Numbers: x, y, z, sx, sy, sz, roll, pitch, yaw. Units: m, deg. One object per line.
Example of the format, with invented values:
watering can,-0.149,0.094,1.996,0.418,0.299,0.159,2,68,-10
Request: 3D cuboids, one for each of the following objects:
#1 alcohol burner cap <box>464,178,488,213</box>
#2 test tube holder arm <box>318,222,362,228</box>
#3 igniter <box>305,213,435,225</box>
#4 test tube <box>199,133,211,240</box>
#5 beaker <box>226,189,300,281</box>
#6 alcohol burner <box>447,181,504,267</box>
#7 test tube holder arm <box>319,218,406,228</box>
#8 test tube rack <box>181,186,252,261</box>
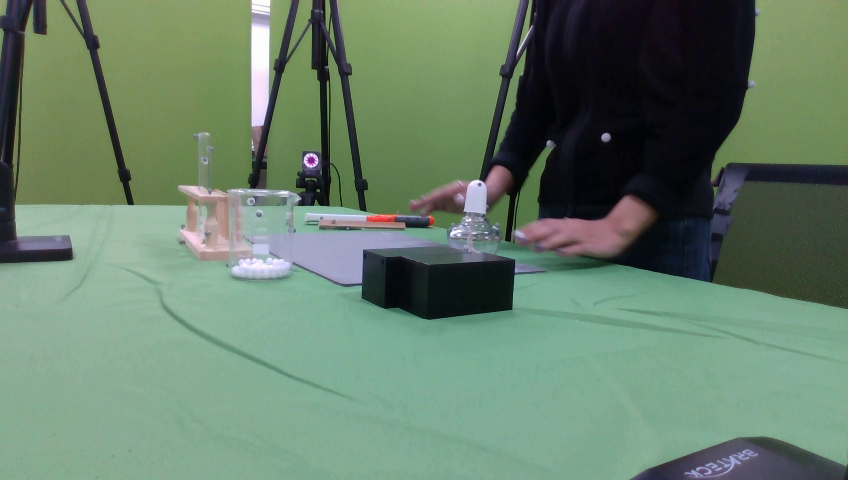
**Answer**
alcohol burner cap,0.073,-0.060,0.824,0.034,0.048,0.034,6,3,0
test tube holder arm,-0.166,-0.031,1.203,0.088,0.015,0.010,0,-24,-19
igniter,-0.114,-0.046,1.299,0.277,0.025,0.057,1,-3,-12
test tube,-0.306,-0.075,0.846,0.017,0.150,0.017,0,0,0
beaker,-0.184,-0.007,0.694,0.084,0.100,0.073,-1,8,-29
alcohol burner,0.070,-0.024,0.828,0.078,0.119,0.078,0,6,0
test tube holder arm,-0.121,-0.033,1.213,0.179,0.015,0.013,0,-24,-20
test tube rack,-0.312,-0.031,0.893,0.067,0.085,0.241,-1,8,-27
